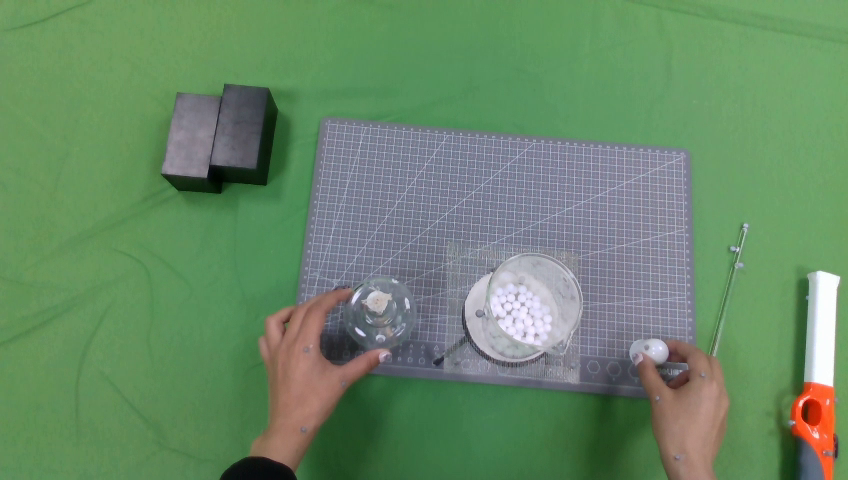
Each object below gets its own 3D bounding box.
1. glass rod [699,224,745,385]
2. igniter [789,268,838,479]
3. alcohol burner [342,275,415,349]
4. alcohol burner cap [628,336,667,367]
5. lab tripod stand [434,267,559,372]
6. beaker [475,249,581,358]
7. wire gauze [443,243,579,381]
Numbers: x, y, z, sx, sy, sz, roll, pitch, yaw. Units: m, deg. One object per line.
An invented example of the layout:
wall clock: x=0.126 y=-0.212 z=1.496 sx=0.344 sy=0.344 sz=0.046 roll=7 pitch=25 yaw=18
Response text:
glass rod: x=0.342 y=0.071 z=0.694 sx=0.008 sy=0.008 sz=0.199 roll=21 pitch=76 yaw=3
igniter: x=0.428 y=0.165 z=0.662 sx=0.057 sy=0.025 sz=0.275 roll=15 pitch=75 yaw=-9
alcohol burner: x=-0.047 y=0.070 z=0.621 sx=0.078 sy=0.119 sz=0.077 roll=1 pitch=72 yaw=-2
alcohol burner cap: x=0.245 y=0.120 z=0.656 sx=0.034 sy=0.048 sz=0.033 roll=0 pitch=75 yaw=0
lab tripod stand: x=0.076 y=0.083 z=0.613 sx=0.148 sy=0.132 sz=0.147 roll=0 pitch=74 yaw=0
beaker: x=0.082 y=0.060 z=0.501 sx=0.074 sy=0.101 sz=0.083 roll=-26 pitch=76 yaw=-9
wire gauze: x=0.079 y=0.063 z=0.550 sx=0.125 sy=0.011 sz=0.121 roll=4 pitch=73 yaw=1
